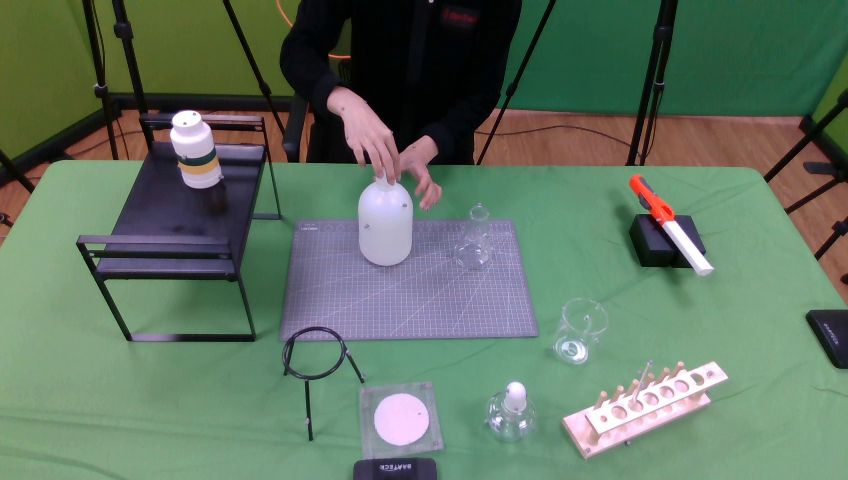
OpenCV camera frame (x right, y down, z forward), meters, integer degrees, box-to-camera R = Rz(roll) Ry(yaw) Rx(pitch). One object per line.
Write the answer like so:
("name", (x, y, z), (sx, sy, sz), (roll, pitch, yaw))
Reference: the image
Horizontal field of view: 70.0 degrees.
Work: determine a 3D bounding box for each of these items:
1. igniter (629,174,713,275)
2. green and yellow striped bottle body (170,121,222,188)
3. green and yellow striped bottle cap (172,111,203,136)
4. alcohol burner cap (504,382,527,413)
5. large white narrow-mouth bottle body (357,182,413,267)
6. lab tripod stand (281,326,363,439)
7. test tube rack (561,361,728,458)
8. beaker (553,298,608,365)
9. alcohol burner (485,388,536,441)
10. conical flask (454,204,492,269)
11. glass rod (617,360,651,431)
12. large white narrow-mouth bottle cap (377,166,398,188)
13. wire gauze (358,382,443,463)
("igniter", (0.481, -0.040, 1.202), (0.057, 0.025, 0.274), (-1, 46, -21))
("green and yellow striped bottle body", (-0.375, -0.149, 0.995), (0.063, 0.120, 0.063), (2, 46, -2))
("green and yellow striped bottle cap", (-0.374, -0.185, 0.957), (0.045, 0.020, 0.045), (3, 45, -3))
("alcohol burner cap", (0.133, 0.225, 0.877), (0.034, 0.048, 0.033), (-4, 47, 5))
("large white narrow-mouth bottle body", (-0.072, -0.046, 1.115), (0.102, 0.195, 0.101), (4, 46, -4))
("lab tripod stand", (-0.166, 0.202, 0.913), (0.148, 0.132, 0.147), (1, 47, -1))
("test tube rack", (0.341, 0.248, 0.940), (0.243, 0.085, 0.066), (-15, 49, -18))
("beaker", (0.260, 0.154, 1.015), (0.073, 0.101, 0.084), (37, 54, 27))
("alcohol burner", (0.131, 0.249, 0.904), (0.078, 0.120, 0.077), (1, 48, -1))
("conical flask", (0.097, -0.009, 1.140), (0.075, 0.122, 0.075), (2, 46, -2))
("glass rod", (0.297, 0.227, 0.865), (0.008, 0.201, 0.008), (-1, 48, 2))
("large white narrow-mouth bottle cap", (-0.063, -0.109, 1.049), (0.038, 0.024, 0.037), (4, 46, -4))
("wire gauze", (-0.039, 0.277, 0.937), (0.121, 0.011, 0.124), (-4, 47, -7))
